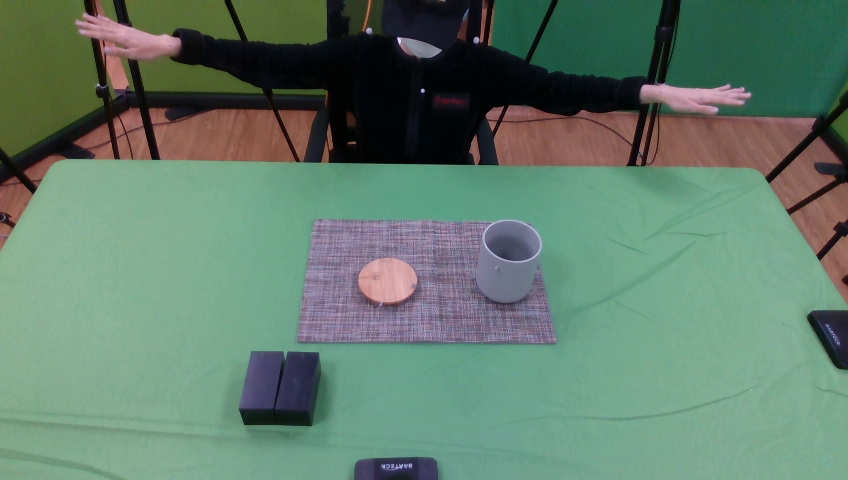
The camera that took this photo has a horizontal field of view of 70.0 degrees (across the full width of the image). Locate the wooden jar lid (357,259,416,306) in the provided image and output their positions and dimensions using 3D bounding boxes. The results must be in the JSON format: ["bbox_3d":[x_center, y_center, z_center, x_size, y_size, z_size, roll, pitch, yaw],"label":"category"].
[{"bbox_3d":[-0.069,0.079,1.113,0.108,0.021,0.107,3,47,-3],"label":"wooden jar lid"}]

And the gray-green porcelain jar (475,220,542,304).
[{"bbox_3d":[0.148,0.044,1.090,0.106,0.127,0.105,2,46,-2],"label":"gray-green porcelain jar"}]
